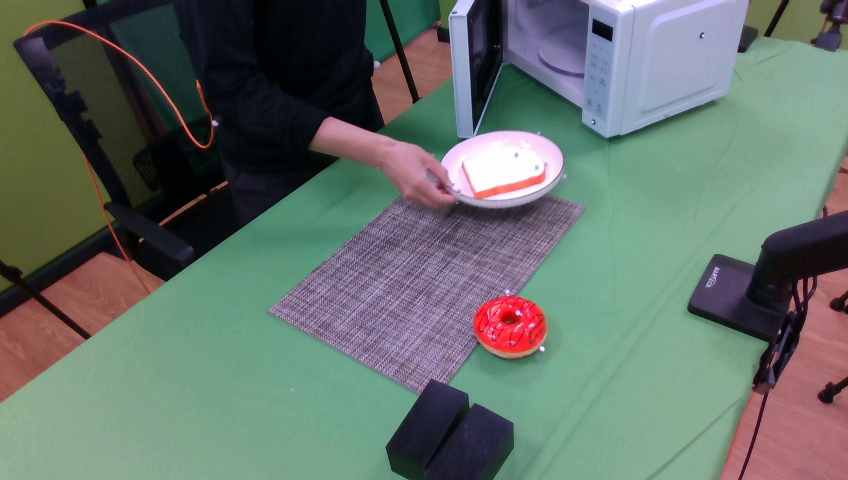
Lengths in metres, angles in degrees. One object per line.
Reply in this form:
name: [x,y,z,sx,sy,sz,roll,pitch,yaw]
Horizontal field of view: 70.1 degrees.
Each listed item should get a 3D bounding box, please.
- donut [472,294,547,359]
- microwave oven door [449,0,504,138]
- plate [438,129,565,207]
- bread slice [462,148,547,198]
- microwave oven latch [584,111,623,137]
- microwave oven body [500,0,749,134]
donut: [0.114,0.114,0.803,0.099,0.048,0.098,0,40,1]
microwave oven door: [0.114,-0.404,1.229,0.039,0.245,0.355,6,42,15]
plate: [0.128,-0.117,1.007,0.207,0.039,0.206,-6,40,5]
bread slice: [0.136,-0.117,1.008,0.132,0.019,0.104,-13,41,-4]
microwave oven latch: [0.337,-0.222,1.142,0.030,0.029,0.078,-21,42,-14]
microwave oven body: [0.382,-0.444,1.246,0.327,0.261,0.437,-22,42,-16]
